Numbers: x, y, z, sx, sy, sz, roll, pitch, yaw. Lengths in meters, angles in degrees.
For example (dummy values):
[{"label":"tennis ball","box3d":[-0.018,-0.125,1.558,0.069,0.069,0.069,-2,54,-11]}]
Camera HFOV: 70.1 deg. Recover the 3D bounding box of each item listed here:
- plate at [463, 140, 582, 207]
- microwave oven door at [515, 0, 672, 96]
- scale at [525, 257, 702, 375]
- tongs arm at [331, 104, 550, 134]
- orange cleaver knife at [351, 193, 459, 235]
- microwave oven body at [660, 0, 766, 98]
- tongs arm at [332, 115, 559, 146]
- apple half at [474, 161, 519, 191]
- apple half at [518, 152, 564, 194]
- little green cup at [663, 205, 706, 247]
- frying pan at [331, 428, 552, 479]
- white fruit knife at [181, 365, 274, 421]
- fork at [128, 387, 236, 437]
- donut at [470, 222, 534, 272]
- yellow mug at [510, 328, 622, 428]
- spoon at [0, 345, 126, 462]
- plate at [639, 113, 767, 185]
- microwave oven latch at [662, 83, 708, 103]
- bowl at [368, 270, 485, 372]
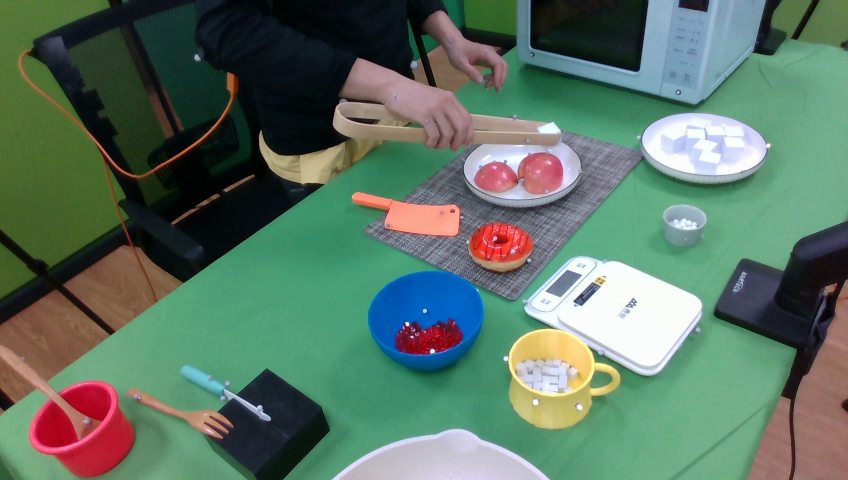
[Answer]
[{"label":"plate","box3d":[0.173,-0.119,1.070,0.209,0.038,0.208,-4,40,4]},{"label":"microwave oven door","box3d":[0.343,-0.454,1.259,0.353,0.245,0.039,26,51,33]},{"label":"scale","box3d":[0.254,0.091,0.821,0.199,0.032,0.149,28,51,35]},{"label":"tongs arm","box3d":[0.042,-0.180,0.949,0.387,0.026,0.050,2,45,-24]},{"label":"orange cleaver knife","box3d":[-0.036,-0.044,1.029,0.210,0.012,0.077,10,48,18]},{"label":"microwave oven body","box3d":[0.472,-0.513,1.317,0.438,0.261,0.327,26,51,34]},{"label":"tongs arm","box3d":[0.050,-0.164,0.935,0.390,0.028,0.028,-2,50,-27]},{"label":"apple half","box3d":[0.130,-0.119,1.067,0.081,0.033,0.081,-4,36,3]},{"label":"apple half","box3d":[0.204,-0.124,1.048,0.075,0.053,0.080,-6,40,-2]},{"label":"little green cup","box3d":[0.396,-0.020,0.926,0.061,0.039,0.061,-4,40,4]},{"label":"frying pan","box3d":[-0.089,0.305,0.564,0.487,0.103,0.306,10,41,7]},{"label":"white fruit knife","box3d":[-0.245,0.187,0.747,0.205,0.027,0.016,9,41,40]},{"label":"fork","box3d":[-0.305,0.207,0.744,0.206,0.019,0.028,3,41,36]},{"label":"donut","box3d":[0.118,0.009,0.923,0.099,0.048,0.098,-3,39,3]},{"label":"yellow mug","box3d":[0.169,0.164,0.721,0.130,0.064,0.099,0,40,8]},{"label":"spoon","box3d":[-0.434,0.192,0.720,0.194,0.021,0.042,47,53,-7]},{"label":"plate","box3d":[0.489,-0.157,1.074,0.207,0.039,0.206,-4,40,4]},{"label":"microwave oven latch","box3d":[0.518,-0.296,1.204,0.078,0.029,0.030,28,52,35]},{"label":"bowl","box3d":[0.007,0.118,0.791,0.151,0.077,0.150,-5,40,4]}]
